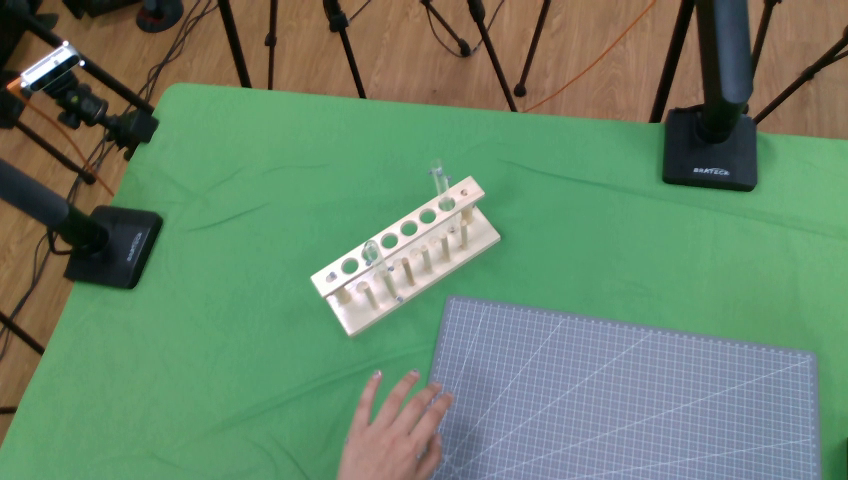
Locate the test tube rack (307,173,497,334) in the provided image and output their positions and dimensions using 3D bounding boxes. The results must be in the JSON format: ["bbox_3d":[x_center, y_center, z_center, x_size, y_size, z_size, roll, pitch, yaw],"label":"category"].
[{"bbox_3d":[-0.022,0.018,0.791,0.242,0.086,0.066,-33,65,-8],"label":"test tube rack"}]

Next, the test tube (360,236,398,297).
[{"bbox_3d":[-0.054,0.034,0.739,0.017,0.152,0.017,-4,61,8],"label":"test tube"}]

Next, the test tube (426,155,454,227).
[{"bbox_3d":[0.022,-0.058,0.766,0.017,0.151,0.017,-4,61,8],"label":"test tube"}]
